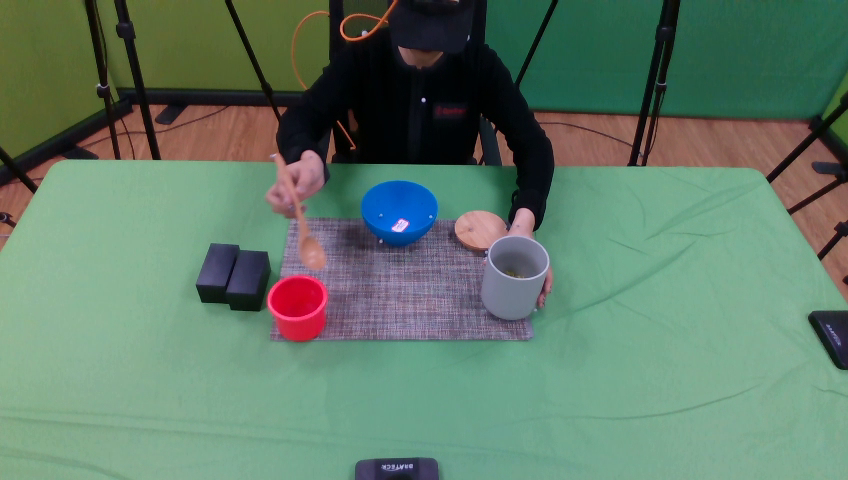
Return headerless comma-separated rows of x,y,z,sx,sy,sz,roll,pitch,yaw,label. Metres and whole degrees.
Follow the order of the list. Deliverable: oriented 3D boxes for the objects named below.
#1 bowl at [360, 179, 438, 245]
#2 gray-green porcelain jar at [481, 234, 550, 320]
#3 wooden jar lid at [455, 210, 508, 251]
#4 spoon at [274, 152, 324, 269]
-0.049,-0.042,1.190,0.151,0.077,0.150,2,46,-2,bowl
0.157,0.070,1.064,0.106,0.127,0.105,2,47,-2,gray-green porcelain jar
0.115,-0.018,1.220,0.108,0.021,0.107,3,47,-3,wooden jar lid
-0.200,-0.046,0.957,0.041,0.194,0.021,-22,11,-35,spoon
